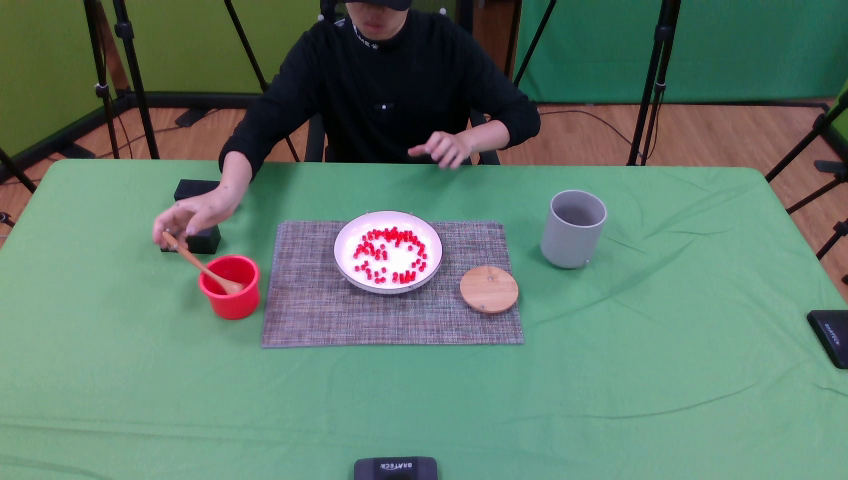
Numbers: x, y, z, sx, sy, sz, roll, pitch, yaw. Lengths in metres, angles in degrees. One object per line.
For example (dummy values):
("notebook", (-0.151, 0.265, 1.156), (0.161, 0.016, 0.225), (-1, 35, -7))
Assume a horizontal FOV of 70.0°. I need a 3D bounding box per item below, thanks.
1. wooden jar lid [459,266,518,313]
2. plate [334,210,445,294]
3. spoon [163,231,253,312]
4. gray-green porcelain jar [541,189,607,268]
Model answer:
("wooden jar lid", (0.118, 0.093, 1.111), (0.108, 0.021, 0.107), (1, 47, -1))
("plate", (-0.066, 0.026, 1.150), (0.208, 0.039, 0.206), (2, 46, -2))
("spoon", (-0.364, 0.054, 1.024), (0.194, 0.021, 0.041), (43, 49, -17))
("gray-green porcelain jar", (0.283, -0.017, 1.160), (0.106, 0.127, 0.105), (2, 46, -2))
